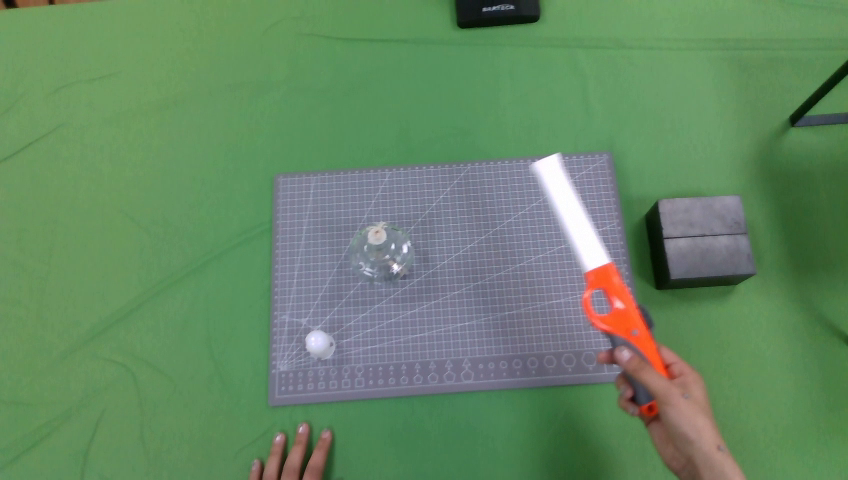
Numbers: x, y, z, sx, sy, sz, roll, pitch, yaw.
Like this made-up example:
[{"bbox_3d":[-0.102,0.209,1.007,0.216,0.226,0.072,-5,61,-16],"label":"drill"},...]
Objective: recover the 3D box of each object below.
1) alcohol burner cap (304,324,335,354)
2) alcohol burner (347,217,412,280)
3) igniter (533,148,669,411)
[{"bbox_3d":[-0.125,0.116,0.714,0.034,0.048,0.033,-1,72,3],"label":"alcohol burner cap"},{"bbox_3d":[-0.053,0.005,0.711,0.078,0.120,0.077,0,71,0],"label":"alcohol burner"},{"bbox_3d":[0.178,0.035,0.613,0.057,0.025,0.275,-21,78,-1],"label":"igniter"}]
